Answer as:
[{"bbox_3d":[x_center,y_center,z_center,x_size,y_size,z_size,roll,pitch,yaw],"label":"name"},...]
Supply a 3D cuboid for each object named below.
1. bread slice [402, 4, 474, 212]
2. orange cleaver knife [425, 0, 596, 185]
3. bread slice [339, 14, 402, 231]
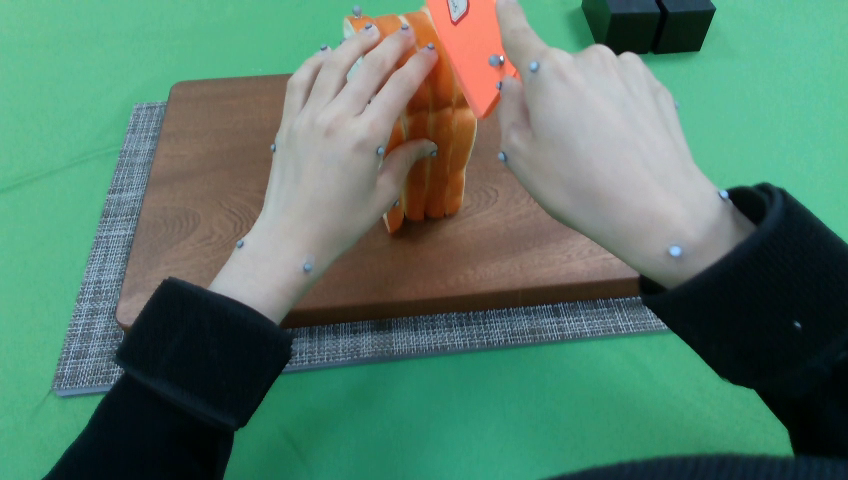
[{"bbox_3d":[0.010,-0.100,0.445,0.019,0.132,0.103,-9,52,-17],"label":"bread slice"},{"bbox_3d":[0.035,-0.109,0.343,0.012,0.077,0.209,-11,65,-24],"label":"orange cleaver knife"},{"bbox_3d":[-0.039,-0.090,0.437,0.018,0.135,0.105,-15,48,-13],"label":"bread slice"}]
